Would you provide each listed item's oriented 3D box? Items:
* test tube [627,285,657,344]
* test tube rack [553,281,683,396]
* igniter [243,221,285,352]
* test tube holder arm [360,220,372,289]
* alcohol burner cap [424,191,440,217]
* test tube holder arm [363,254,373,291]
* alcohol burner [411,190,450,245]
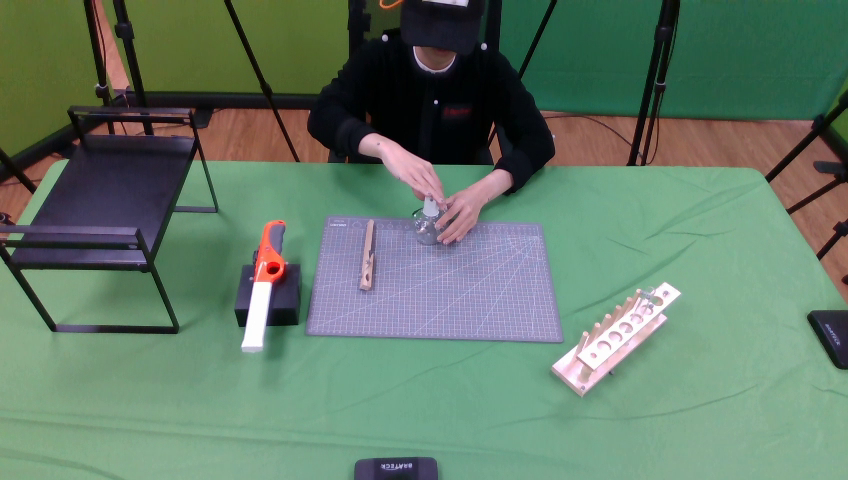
[{"bbox_3d":[0.349,0.124,0.983,0.017,0.151,0.017,0,49,0],"label":"test tube"},{"bbox_3d":[0.329,0.153,1.023,0.242,0.085,0.066,-30,54,-28],"label":"test tube rack"},{"bbox_3d":[-0.273,0.069,1.041,0.057,0.025,0.274,2,48,-5],"label":"igniter"},{"bbox_3d":[-0.110,0.024,1.161,0.013,0.015,0.177,28,38,-27],"label":"test tube holder arm"},{"bbox_3d":[0.017,-0.071,1.153,0.034,0.048,0.033,2,46,-2],"label":"alcohol burner cap"},{"bbox_3d":[-0.104,0.058,1.132,0.010,0.015,0.087,28,37,-26],"label":"test tube holder arm"},{"bbox_3d":[0.014,-0.049,1.175,0.078,0.119,0.077,3,44,-3],"label":"alcohol burner"}]
